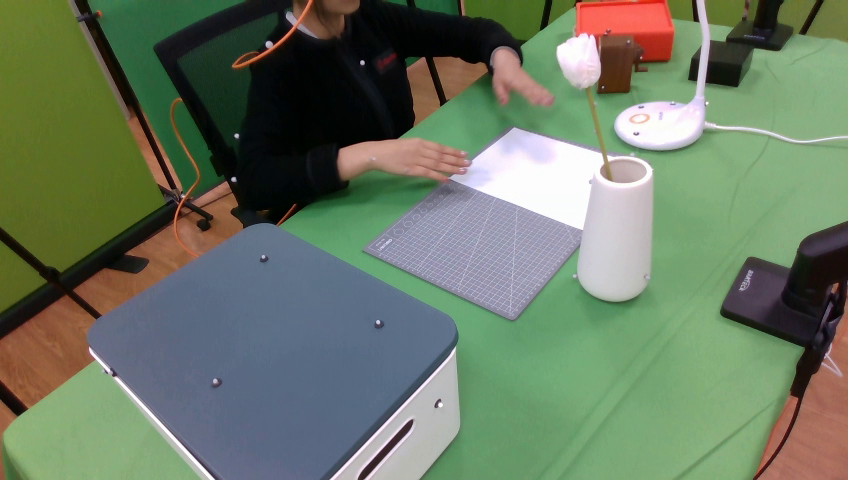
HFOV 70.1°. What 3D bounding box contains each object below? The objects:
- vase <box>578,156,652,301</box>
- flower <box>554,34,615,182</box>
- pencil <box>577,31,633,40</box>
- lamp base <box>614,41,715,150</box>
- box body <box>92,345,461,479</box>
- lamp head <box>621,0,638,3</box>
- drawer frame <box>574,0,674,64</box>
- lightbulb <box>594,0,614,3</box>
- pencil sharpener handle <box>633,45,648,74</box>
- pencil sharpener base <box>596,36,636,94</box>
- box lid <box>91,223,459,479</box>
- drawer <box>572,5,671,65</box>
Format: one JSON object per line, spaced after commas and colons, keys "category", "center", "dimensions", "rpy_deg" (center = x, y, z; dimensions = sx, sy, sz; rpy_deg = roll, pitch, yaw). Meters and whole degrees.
{"category": "vase", "center": [0.261, -0.011, 0.812], "dimensions": [0.098, 0.201, 0.097], "rpy_deg": [-4, 40, 4]}
{"category": "flower", "center": [0.237, -0.083, 0.774], "dimensions": [0.044, 0.363, 0.038], "rpy_deg": [-23, 26, 6]}
{"category": "pencil", "center": [0.430, -0.487, 1.443], "dimensions": [0.012, 0.012, 0.192], "rpy_deg": [-25, 30, -18]}
{"category": "lamp base", "center": [0.449, -0.277, 1.106], "dimensions": [0.179, 0.181, 0.160], "rpy_deg": [1, 41, 9]}
{"category": "box body", "center": [-0.162, 0.170, 0.708], "dimensions": [0.361, 0.161, 0.255], "rpy_deg": [25, 50, 34]}
{"category": "lamp head", "center": [0.319, -0.453, 0.962], "dimensions": [0.113, 0.123, 0.112], "rpy_deg": [20, 33, -13]}
{"category": "drawer frame", "center": [0.464, -0.492, 1.434], "dimensions": [0.213, 0.083, 0.201], "rpy_deg": [1, 40, 12]}
{"category": "lightbulb", "center": [0.305, -0.437, 0.976], "dimensions": [0.060, 0.107, 0.059], "rpy_deg": [12, 45, -11]}
{"category": "pencil sharpener handle", "center": [0.454, -0.378, 1.262], "dimensions": [0.030, 0.068, 0.036], "rpy_deg": [2, 47, 13]}
{"category": "pencil sharpener base", "center": [0.405, -0.369, 1.280], "dimensions": [0.076, 0.107, 0.061], "rpy_deg": [2, 41, 13]}
{"category": "box lid", "center": [-0.174, 0.102, 0.666], "dimensions": [0.368, 0.015, 0.264], "rpy_deg": [24, 48, 35]}
{"category": "drawer", "center": [0.461, -0.490, 1.435], "dimensions": [0.211, 0.073, 0.194], "rpy_deg": [2, 40, 12]}
